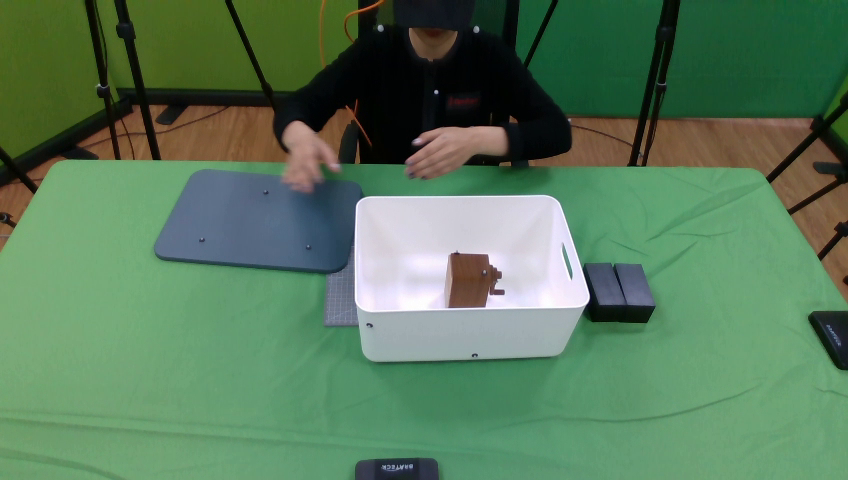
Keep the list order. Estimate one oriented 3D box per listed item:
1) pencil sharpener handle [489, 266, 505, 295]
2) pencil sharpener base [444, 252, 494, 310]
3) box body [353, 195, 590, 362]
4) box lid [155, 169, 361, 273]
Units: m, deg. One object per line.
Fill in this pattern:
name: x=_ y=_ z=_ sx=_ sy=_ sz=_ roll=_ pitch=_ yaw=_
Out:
pencil sharpener handle: x=0.129 y=0.071 z=1.052 sx=0.031 sy=0.068 sz=0.036 roll=1 pitch=43 yaw=-4
pencil sharpener base: x=0.078 y=0.078 z=1.058 sx=0.077 sy=0.107 sz=0.061 roll=1 pitch=45 yaw=-4
box body: x=0.065 y=0.066 z=1.040 sx=0.364 sy=0.161 sz=0.252 roll=-1 pitch=46 yaw=-5
box lid: x=-0.321 y=-0.044 z=1.225 sx=0.371 sy=0.015 sz=0.261 roll=4 pitch=46 yaw=1
